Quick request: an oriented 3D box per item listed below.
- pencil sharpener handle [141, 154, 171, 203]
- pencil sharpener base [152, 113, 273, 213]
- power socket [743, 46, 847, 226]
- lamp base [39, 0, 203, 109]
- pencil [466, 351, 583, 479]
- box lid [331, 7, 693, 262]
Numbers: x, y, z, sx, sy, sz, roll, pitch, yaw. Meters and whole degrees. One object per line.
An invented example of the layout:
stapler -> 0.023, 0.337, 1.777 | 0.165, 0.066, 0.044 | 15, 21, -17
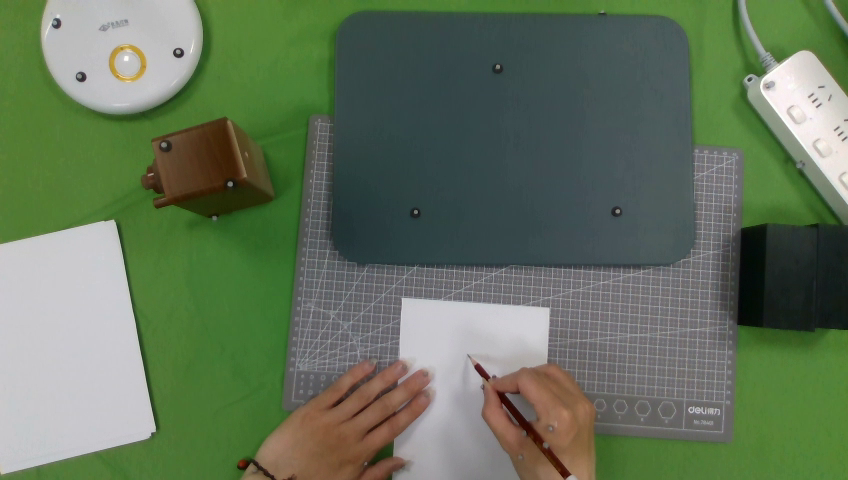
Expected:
pencil sharpener handle -> -0.243, -0.051, 0.550 | 0.030, 0.068, 0.036 | -17, 74, -2
pencil sharpener base -> -0.195, -0.067, 0.565 | 0.077, 0.107, 0.061 | -16, 86, -2
power socket -> 0.420, -0.097, 0.617 | 0.072, 0.032, 0.226 | -36, 87, -4
lamp base -> -0.310, -0.228, 0.537 | 0.160, 0.180, 0.178 | -27, 84, -3
pencil -> 0.085, 0.155, 0.531 | 0.012, 0.192, 0.012 | -14, 123, -22
box lid -> 0.092, -0.108, 0.621 | 0.372, 0.015, 0.262 | 0, 86, -1
